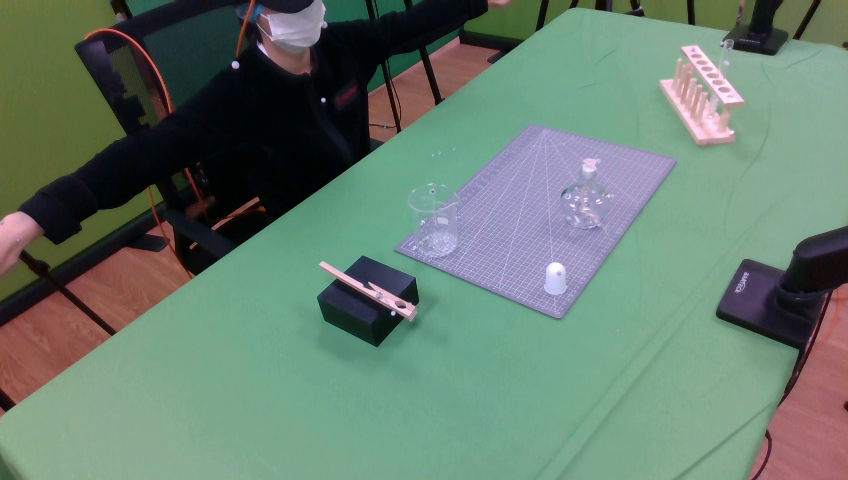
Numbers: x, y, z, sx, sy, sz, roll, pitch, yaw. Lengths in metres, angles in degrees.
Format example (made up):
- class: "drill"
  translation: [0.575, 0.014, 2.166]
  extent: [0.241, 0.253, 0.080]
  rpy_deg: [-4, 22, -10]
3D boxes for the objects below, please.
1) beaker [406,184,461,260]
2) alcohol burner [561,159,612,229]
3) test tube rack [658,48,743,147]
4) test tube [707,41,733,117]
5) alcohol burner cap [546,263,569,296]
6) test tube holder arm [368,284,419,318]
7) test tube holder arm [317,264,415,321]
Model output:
- class: "beaker"
  translation: [0.019, -0.026, 0.939]
  extent: [0.084, 0.101, 0.074]
  rpy_deg: [1, 41, 9]
- class: "alcohol burner"
  translation: [0.257, -0.077, 0.951]
  extent: [0.078, 0.119, 0.077]
  rpy_deg: [-3, 40, 3]
- class: "test tube rack"
  translation: [0.532, -0.284, 1.180]
  extent: [0.067, 0.085, 0.241]
  rpy_deg: [-5, 40, 4]
- class: "test tube"
  translation: [0.542, -0.293, 1.111]
  extent: [0.017, 0.151, 0.017]
  rpy_deg: [-4, 43, 5]
- class: "alcohol burner cap"
  translation: [0.191, 0.053, 0.862]
  extent: [0.034, 0.048, 0.033]
  rpy_deg: [-5, 40, 4]
- class: "test tube holder arm"
  translation: [-0.044, 0.081, 0.813]
  extent: [0.087, 0.015, 0.010]
  rpy_deg: [23, 55, 31]
- class: "test tube holder arm"
  translation: [-0.083, 0.070, 0.833]
  extent: [0.177, 0.015, 0.013]
  rpy_deg: [22, 54, 30]
